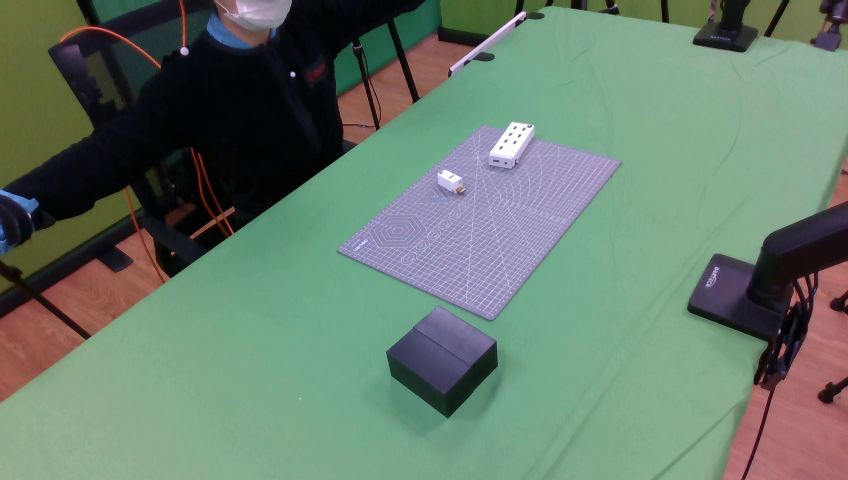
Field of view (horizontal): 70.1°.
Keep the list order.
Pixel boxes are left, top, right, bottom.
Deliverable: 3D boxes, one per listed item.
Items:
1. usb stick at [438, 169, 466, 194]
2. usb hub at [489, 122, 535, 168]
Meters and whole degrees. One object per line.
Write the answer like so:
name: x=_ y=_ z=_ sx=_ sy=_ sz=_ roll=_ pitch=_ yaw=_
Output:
usb stick: x=0.051 y=-0.102 z=1.073 sx=0.021 sy=0.027 sz=0.058 roll=-32 pitch=49 yaw=-28
usb hub: x=0.169 y=-0.182 z=1.149 sx=0.049 sy=0.025 sz=0.125 roll=15 pitch=45 yaw=23
